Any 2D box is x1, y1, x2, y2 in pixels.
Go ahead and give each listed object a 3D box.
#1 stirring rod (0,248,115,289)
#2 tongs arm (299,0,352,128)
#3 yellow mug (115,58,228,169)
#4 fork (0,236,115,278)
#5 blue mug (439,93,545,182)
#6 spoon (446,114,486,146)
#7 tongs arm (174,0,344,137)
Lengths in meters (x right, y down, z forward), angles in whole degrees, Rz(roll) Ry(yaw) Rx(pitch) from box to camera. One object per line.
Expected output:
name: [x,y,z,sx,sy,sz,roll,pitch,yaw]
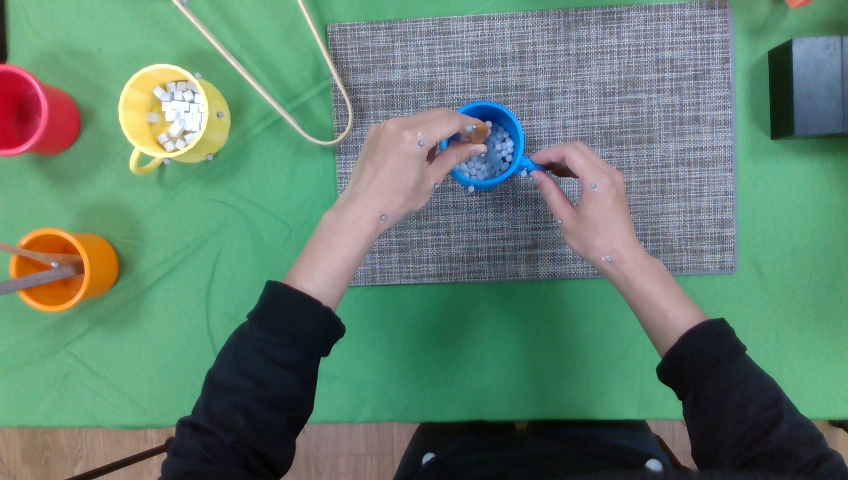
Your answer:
stirring rod: [-0.432,0.038,0.661,0.176,0.006,0.014,-20,88,-38]
tongs arm: [-0.167,-0.304,0.659,0.028,0.027,0.388,-28,99,-4]
yellow mug: [-0.289,-0.133,0.679,0.100,0.064,0.131,36,96,0]
fork: [-0.443,0.004,0.653,0.209,0.018,0.028,25,90,-42]
blue mug: [0.074,-0.098,0.642,0.116,0.106,0.082,23,94,0]
spoon: [0.045,-0.102,0.572,0.041,0.193,0.021,5,98,-1]
tongs arm: [-0.235,-0.255,0.662,0.051,0.026,0.386,-41,98,1]
